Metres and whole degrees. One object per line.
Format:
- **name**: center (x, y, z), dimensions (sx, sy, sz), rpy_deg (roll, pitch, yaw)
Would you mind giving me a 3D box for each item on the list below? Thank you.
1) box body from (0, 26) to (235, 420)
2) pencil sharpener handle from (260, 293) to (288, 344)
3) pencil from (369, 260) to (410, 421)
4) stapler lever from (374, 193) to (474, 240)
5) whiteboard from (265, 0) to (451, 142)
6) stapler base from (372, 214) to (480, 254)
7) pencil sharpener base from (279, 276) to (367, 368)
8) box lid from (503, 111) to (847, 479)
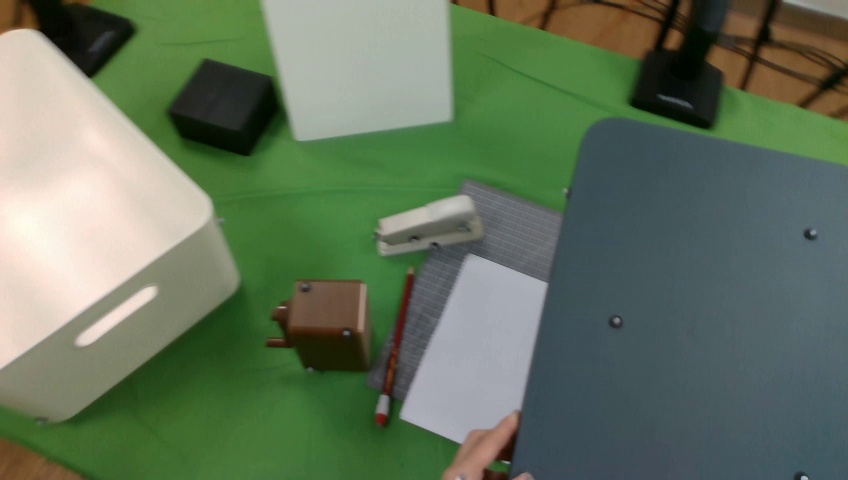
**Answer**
- **box body**: center (-0.407, -0.023, 0.639), dimensions (0.361, 0.161, 0.254), rpy_deg (41, 66, 19)
- **pencil sharpener handle**: center (-0.152, 0.082, 0.607), dimensions (0.030, 0.068, 0.035), rpy_deg (2, 43, -1)
- **pencil**: center (-0.035, 0.104, 0.669), dimensions (0.012, 0.012, 0.192), rpy_deg (10, 59, 4)
- **stapler lever**: center (0.000, -0.028, 0.711), dimensions (0.118, 0.040, 0.026), rpy_deg (-10, 56, -5)
- **whiteboard**: center (-0.086, -0.307, 0.774), dimensions (0.217, 0.308, 0.142), rpy_deg (-9, 41, -7)
- **stapler base**: center (0.002, -0.015, 0.733), dimensions (0.131, 0.024, 0.041), rpy_deg (-11, 56, -5)
- **pencil sharpener base**: center (-0.101, 0.086, 0.622), dimensions (0.077, 0.108, 0.061), rpy_deg (2, 60, -1)
- **box lid**: center (0.226, 0.067, 0.495), dimensions (0.263, 0.015, 0.369), rpy_deg (14, 69, 5)
